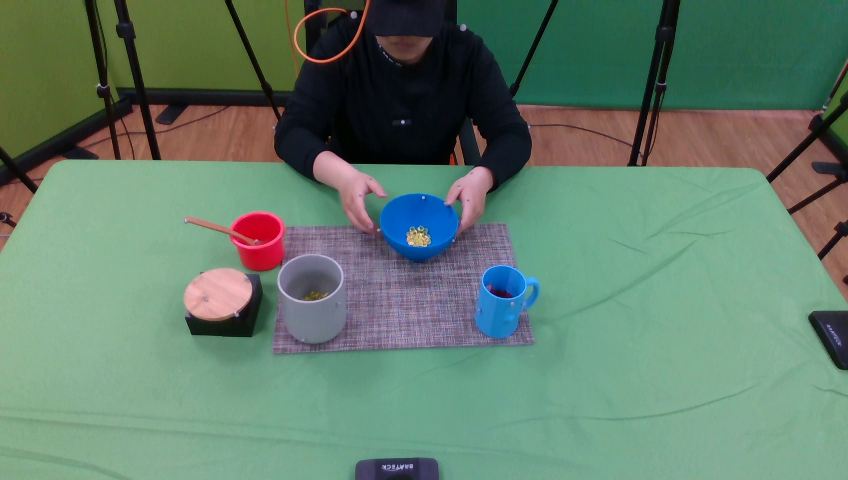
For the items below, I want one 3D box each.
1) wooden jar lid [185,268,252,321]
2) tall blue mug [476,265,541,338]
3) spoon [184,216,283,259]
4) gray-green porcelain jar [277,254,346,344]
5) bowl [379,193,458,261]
[{"bbox_3d":[-0.343,0.093,1.015,0.108,0.021,0.107,3,46,-3],"label":"wooden jar lid"},{"bbox_3d":[0.142,0.099,1.047,0.077,0.108,0.107,33,53,27],"label":"tall blue mug"},{"bbox_3d":[-0.341,-0.008,1.096,0.021,0.195,0.041,-36,47,26],"label":"spoon"},{"bbox_3d":[-0.184,0.102,1.008,0.106,0.127,0.105,2,46,-2],"label":"gray-green porcelain jar"},{"bbox_3d":[-0.011,-0.013,1.166,0.151,0.077,0.150,2,46,-2],"label":"bowl"}]
